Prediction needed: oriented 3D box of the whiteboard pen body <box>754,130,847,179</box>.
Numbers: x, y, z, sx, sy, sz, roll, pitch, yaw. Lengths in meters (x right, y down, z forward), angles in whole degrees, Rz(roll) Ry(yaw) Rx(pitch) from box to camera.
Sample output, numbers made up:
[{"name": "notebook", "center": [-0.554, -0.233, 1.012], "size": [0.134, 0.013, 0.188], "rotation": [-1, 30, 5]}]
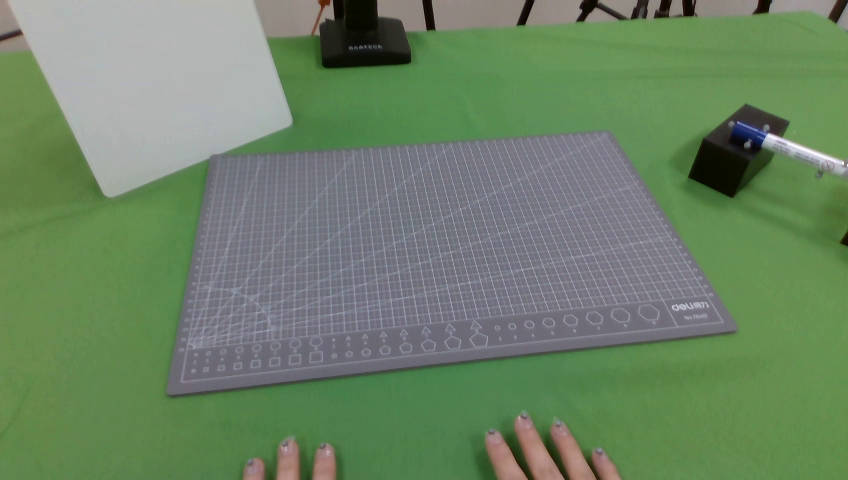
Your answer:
[{"name": "whiteboard pen body", "center": [0.368, -0.083, 0.581], "size": [0.139, 0.017, 0.017], "rotation": [31, 51, 28]}]

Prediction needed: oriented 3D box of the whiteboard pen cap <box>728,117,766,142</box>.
[{"name": "whiteboard pen cap", "center": [0.324, -0.110, 0.605], "size": [0.033, 0.018, 0.018], "rotation": [32, 51, 27]}]

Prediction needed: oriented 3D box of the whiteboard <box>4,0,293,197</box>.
[{"name": "whiteboard", "center": [-0.304, -0.238, 0.625], "size": [0.217, 0.308, 0.142], "rotation": [-31, 33, -28]}]
